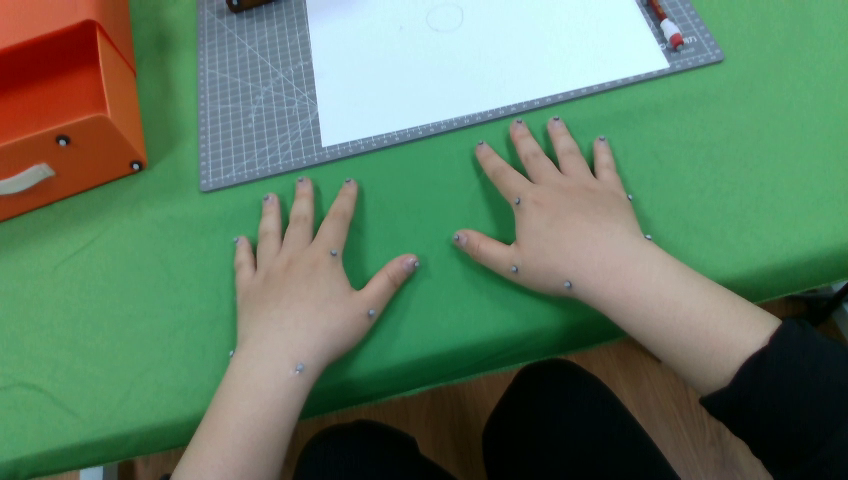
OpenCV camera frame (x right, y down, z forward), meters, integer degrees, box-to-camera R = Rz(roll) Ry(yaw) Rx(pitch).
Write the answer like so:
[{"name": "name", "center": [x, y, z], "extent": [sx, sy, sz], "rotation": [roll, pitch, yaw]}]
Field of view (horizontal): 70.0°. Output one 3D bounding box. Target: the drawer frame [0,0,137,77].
[{"name": "drawer frame", "center": [-0.402, -0.218, 0.599], "extent": [0.202, 0.083, 0.211], "rotation": [-21, 59, -3]}]

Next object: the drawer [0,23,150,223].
[{"name": "drawer", "center": [-0.363, -0.124, 0.542], "extent": [0.194, 0.074, 0.209], "rotation": [-21, 59, -3]}]

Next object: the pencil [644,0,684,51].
[{"name": "pencil", "center": [0.193, -0.240, 0.555], "extent": [0.012, 0.012, 0.192], "rotation": [-15, 58, 1]}]

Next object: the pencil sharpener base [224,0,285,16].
[{"name": "pencil sharpener base", "center": [-0.179, -0.282, 0.583], "extent": [0.077, 0.108, 0.061], "rotation": [-19, 59, -1]}]
